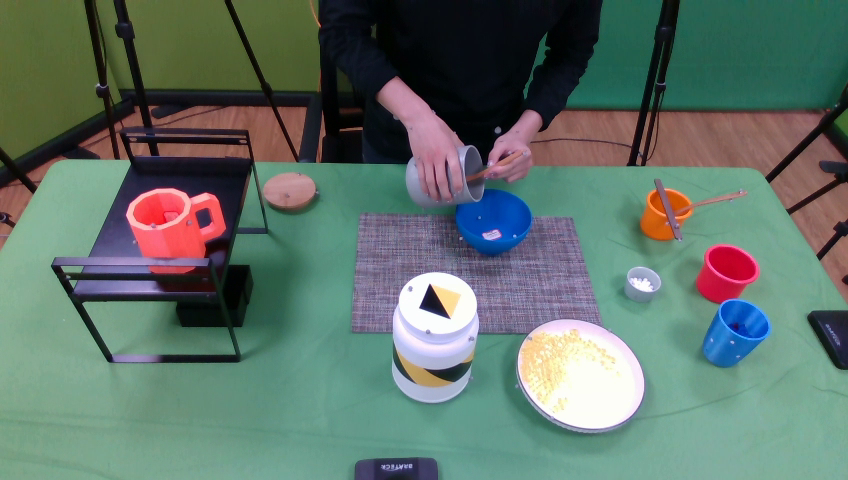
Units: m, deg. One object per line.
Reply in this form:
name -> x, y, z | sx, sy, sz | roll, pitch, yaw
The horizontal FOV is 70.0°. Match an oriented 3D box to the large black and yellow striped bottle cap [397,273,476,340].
large black and yellow striped bottle cap -> 0.018, 0.094, 0.878 | 0.115, 0.019, 0.114 | 3, 46, -3

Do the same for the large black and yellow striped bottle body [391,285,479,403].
large black and yellow striped bottle body -> 0.015, 0.153, 0.938 | 0.131, 0.185, 0.130 | 2, 46, -2

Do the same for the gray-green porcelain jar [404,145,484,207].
gray-green porcelain jar -> 0.035, -0.116, 1.127 | 0.126, 0.106, 0.105 | -5, 41, 25

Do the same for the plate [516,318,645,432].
plate -> 0.253, 0.221, 0.992 | 0.209, 0.038, 0.208 | 2, 46, -2

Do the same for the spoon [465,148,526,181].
spoon -> 0.102, -0.126, 1.118 | 0.193, 0.022, 0.041 | -21, 32, 23

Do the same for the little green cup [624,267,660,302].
little green cup -> 0.406, 0.084, 1.135 | 0.061, 0.039, 0.061 | 3, 45, -3

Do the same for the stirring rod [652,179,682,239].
stirring rod -> 0.481, -0.065, 1.204 | 0.014, 0.006, 0.175 | 1, 46, 0

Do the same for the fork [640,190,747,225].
fork -> 0.533, -0.065, 1.211 | 0.207, 0.019, 0.028 | -22, 28, 39

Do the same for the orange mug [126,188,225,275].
orange mug -> -0.357, -0.019, 0.884 | 0.126, 0.101, 0.083 | -29, 54, -23

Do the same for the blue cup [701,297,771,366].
blue cup -> 0.519, 0.162, 1.025 | 0.093, 0.101, 0.092 | 3, 45, -3

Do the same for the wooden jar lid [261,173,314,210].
wooden jar lid -> -0.286, -0.101, 1.273 | 0.108, 0.021, 0.107 | 3, 45, -3

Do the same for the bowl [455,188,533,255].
bowl -> 0.131, -0.025, 1.186 | 0.151, 0.077, 0.150 | 2, 46, -2
